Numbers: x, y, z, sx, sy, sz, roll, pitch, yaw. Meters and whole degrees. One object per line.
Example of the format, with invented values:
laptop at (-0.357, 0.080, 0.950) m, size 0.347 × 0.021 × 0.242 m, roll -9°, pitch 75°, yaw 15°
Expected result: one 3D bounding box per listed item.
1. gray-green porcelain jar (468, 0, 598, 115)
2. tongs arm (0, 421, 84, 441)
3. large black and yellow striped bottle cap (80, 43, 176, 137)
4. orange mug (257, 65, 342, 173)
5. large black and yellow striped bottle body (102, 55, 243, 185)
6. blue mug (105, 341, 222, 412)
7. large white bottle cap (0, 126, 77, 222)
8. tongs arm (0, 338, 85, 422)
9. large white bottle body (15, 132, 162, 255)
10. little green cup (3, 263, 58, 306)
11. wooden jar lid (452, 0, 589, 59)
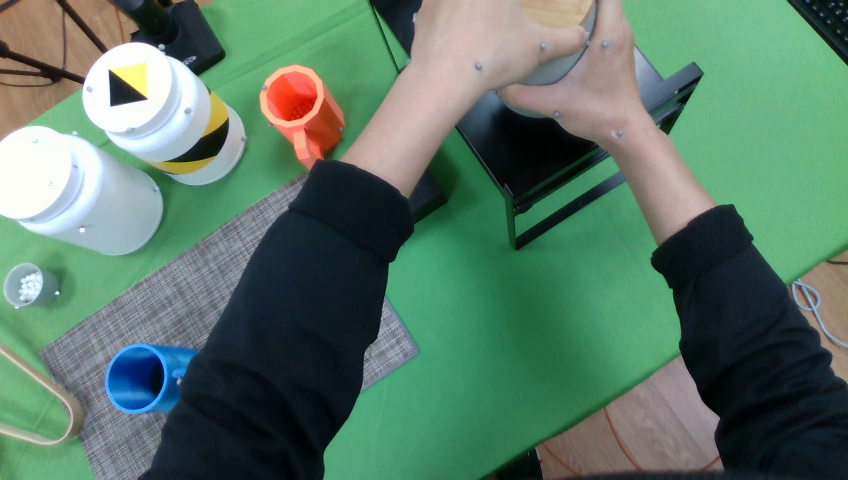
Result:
gray-green porcelain jar at (0.097, -0.177, 0.535) m, size 0.105 × 0.127 × 0.105 m, roll -4°, pitch 77°, yaw 19°
tongs arm at (-0.655, 0.208, 0.826) m, size 0.384 × 0.026 × 0.050 m, roll 18°, pitch 78°, yaw 5°
large black and yellow striped bottle cap at (-0.352, -0.179, 0.719) m, size 0.115 × 0.019 × 0.114 m, roll -2°, pitch 78°, yaw 7°
orange mug at (-0.164, -0.159, 0.818) m, size 0.083 × 0.101 × 0.125 m, roll -12°, pitch 72°, yaw 6°
large black and yellow striped bottle body at (-0.338, -0.160, 0.800) m, size 0.130 × 0.185 × 0.130 m, roll -2°, pitch 77°, yaw 9°
blue mug at (-0.316, 0.170, 0.765) m, size 0.116 × 0.106 × 0.082 m, roll -9°, pitch 76°, yaw 7°
large white bottle cap at (-0.466, -0.078, 0.714) m, size 0.114 × 0.018 × 0.114 m, roll -2°, pitch 78°, yaw 9°
tongs arm at (-0.621, 0.133, 0.840) m, size 0.386 × 0.028 × 0.028 m, roll 32°, pitch 75°, yaw 7°
large white bottle body at (-0.453, -0.060, 0.796) m, size 0.130 × 0.185 × 0.130 m, roll -2°, pitch 77°, yaw 9°
little green cup at (-0.557, 0.065, 0.861) m, size 0.061 × 0.039 × 0.061 m, roll -1°, pitch 79°, yaw 8°
wooden jar lid at (0.076, -0.190, 0.476) m, size 0.108 × 0.021 × 0.108 m, roll -4°, pitch 77°, yaw 18°
